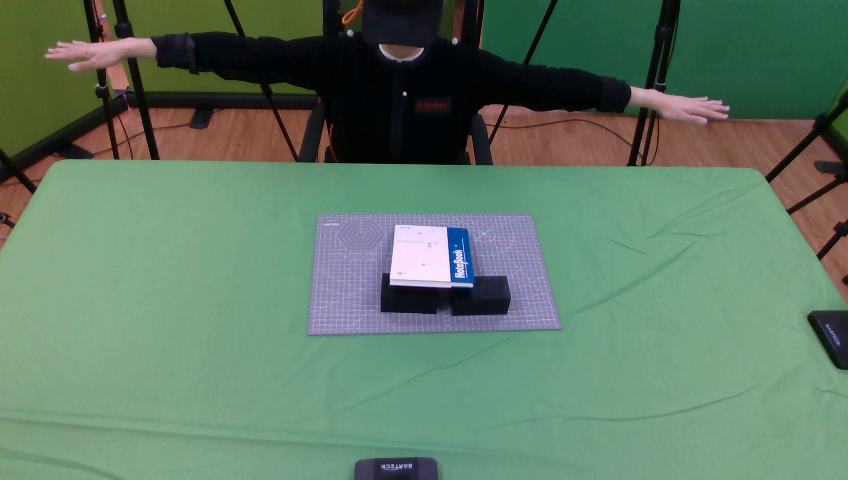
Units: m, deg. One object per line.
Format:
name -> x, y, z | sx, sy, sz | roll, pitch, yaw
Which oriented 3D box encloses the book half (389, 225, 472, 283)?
book half -> 0.012, 0.022, 1.128 | 0.143, 0.007, 0.209 | 3, 28, -1
